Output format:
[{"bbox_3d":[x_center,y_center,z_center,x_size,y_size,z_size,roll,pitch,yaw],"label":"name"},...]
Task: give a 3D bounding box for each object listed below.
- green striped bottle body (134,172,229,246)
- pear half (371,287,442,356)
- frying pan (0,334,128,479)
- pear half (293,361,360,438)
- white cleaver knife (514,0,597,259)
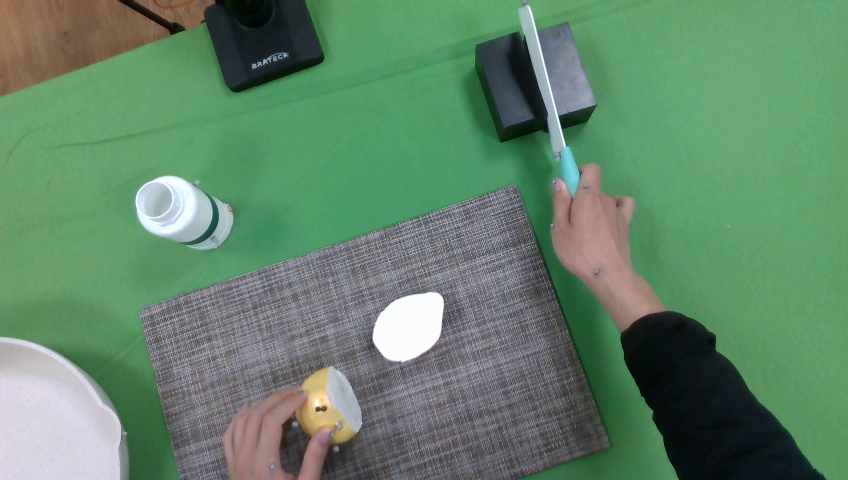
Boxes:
[{"bbox_3d":[-0.258,-0.033,0.643,0.063,0.119,0.063,0,81,3],"label":"green striped bottle body"},{"bbox_3d":[-0.014,0.089,0.654,0.088,0.031,0.070,-41,65,-15],"label":"pear half"},{"bbox_3d":[-0.406,0.335,0.604,0.307,0.103,0.484,-23,73,0],"label":"frying pan"},{"bbox_3d":[-0.106,0.166,0.609,0.056,0.110,0.076,-32,76,-1],"label":"pear half"},{"bbox_3d":[0.140,-0.116,0.646,0.021,0.065,0.287,-15,99,4],"label":"white cleaver knife"}]
